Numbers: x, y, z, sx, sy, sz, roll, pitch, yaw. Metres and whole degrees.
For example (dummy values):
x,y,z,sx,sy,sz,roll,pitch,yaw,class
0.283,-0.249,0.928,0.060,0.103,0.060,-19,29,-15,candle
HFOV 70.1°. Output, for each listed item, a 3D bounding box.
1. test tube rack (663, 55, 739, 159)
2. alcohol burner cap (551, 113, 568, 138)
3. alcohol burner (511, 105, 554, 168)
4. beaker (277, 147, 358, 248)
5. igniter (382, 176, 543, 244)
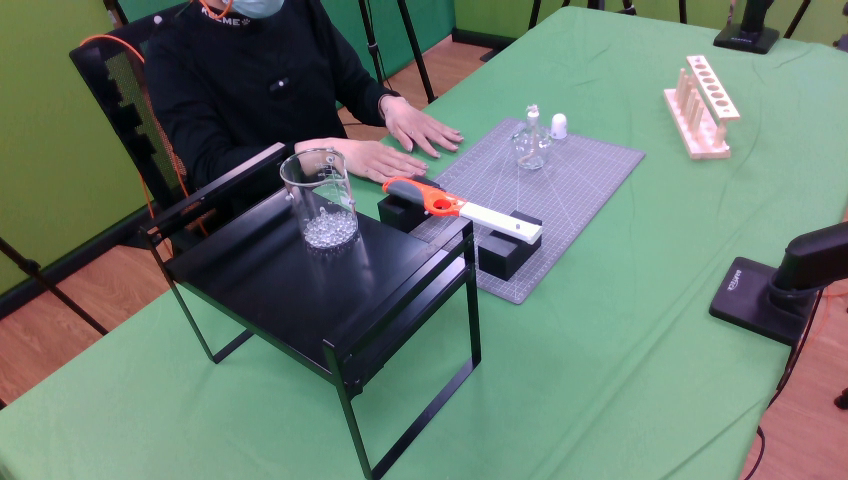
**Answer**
x,y,z,sx,sy,sz,roll,pitch,yaw,class
0.518,-0.256,1.144,0.066,0.085,0.241,-1,41,8,test tube rack
0.263,-0.223,1.172,0.034,0.048,0.033,-5,39,4,alcohol burner cap
0.196,-0.190,1.088,0.078,0.119,0.077,-3,42,3,alcohol burner
-0.117,-0.046,0.705,0.083,0.101,0.074,17,47,25,beaker
0.052,-0.052,0.941,0.274,0.025,0.057,22,47,27,igniter
